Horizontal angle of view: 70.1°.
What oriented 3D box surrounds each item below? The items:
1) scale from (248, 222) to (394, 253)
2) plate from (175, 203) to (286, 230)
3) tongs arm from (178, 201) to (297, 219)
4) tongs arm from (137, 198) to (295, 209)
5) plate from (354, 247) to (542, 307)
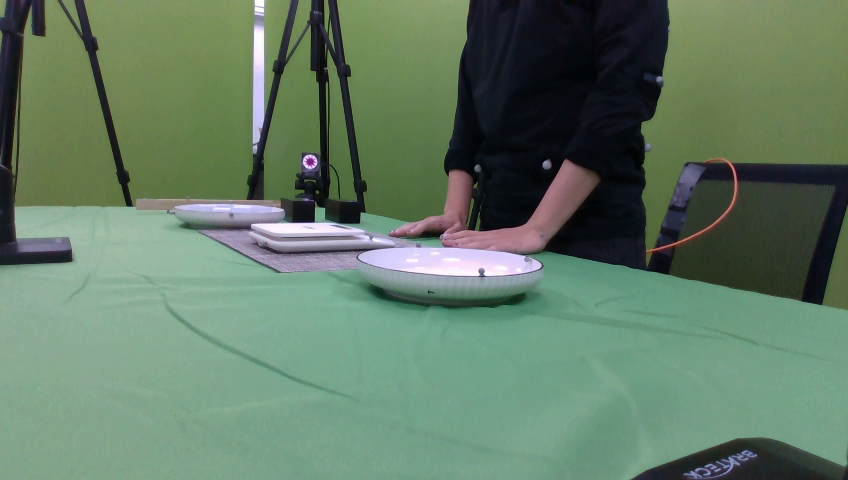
[{"bbox_3d":[-0.162,-0.006,0.954,0.202,0.031,0.148,-1,9,-32],"label":"scale"},{"bbox_3d":[-0.380,-0.047,1.199,0.208,0.039,0.207,3,7,0],"label":"plate"},{"bbox_3d":[-0.418,-0.072,1.420,0.028,0.028,0.389,3,6,28],"label":"tongs arm"},{"bbox_3d":[-0.489,-0.086,1.472,0.050,0.026,0.387,10,9,42],"label":"tongs arm"},{"bbox_3d":[0.025,0.039,0.672,0.209,0.038,0.209,3,7,0],"label":"plate"}]
